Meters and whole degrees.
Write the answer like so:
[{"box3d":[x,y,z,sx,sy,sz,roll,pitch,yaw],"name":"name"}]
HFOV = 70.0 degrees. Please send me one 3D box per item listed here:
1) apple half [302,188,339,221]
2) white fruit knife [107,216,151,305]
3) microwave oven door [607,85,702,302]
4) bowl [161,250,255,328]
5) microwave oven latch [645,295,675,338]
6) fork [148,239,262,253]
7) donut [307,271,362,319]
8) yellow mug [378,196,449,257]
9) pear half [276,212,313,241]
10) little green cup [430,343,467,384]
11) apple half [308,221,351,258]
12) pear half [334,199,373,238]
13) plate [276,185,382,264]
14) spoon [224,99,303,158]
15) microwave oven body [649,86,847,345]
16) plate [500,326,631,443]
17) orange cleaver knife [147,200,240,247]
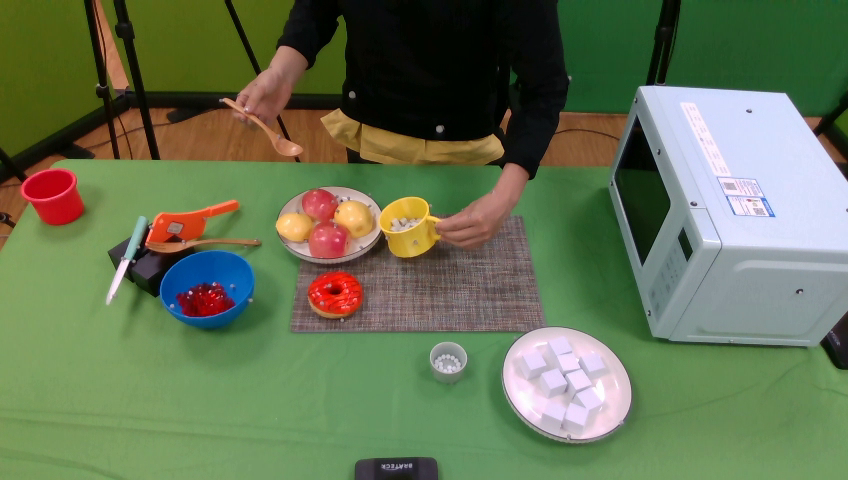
[{"box3d":[-0.205,-0.076,1.216,0.081,0.033,0.081,18,47,-19],"name":"apple half"},{"box3d":[-0.518,0.032,1.066,0.027,0.016,0.206,-19,45,19],"name":"white fruit knife"},{"box3d":[0.423,-0.094,1.140,0.039,0.245,0.353,2,46,-1],"name":"microwave oven door"},{"box3d":[-0.362,0.097,1.040,0.151,0.077,0.150,2,45,-2],"name":"bowl"},{"box3d":[0.411,0.134,1.061,0.030,0.029,0.078,3,45,0],"name":"microwave oven latch"},{"box3d":[-0.398,0.008,1.117,0.208,0.019,0.028,-5,35,-37],"name":"fork"},{"box3d":[-0.157,0.097,1.073,0.099,0.048,0.098,4,45,-4],"name":"donut"},{"box3d":[-0.015,-0.025,1.125,0.130,0.064,0.099,3,47,27],"name":"yellow mug"},{"box3d":[-0.245,-0.035,1.179,0.070,0.031,0.088,40,42,0],"name":"pear half"},{"box3d":[0.039,0.203,0.993,0.061,0.039,0.061,2,46,-2],"name":"little green cup"},{"box3d":[-0.180,-0.005,1.150,0.074,0.053,0.080,14,43,9],"name":"apple half"},{"box3d":[-0.147,-0.059,1.210,0.076,0.056,0.109,-16,44,-25],"name":"pear half"},{"box3d":[-0.184,-0.027,1.194,0.209,0.038,0.208,2,46,-2],"name":"plate"},{"box3d":[-0.295,-0.207,1.103,0.193,0.022,0.041,40,54,13],"name":"spoon"},{"box3d":[0.568,-0.053,1.118,0.326,0.261,0.439,2,45,-1],"name":"microwave oven body"},{"box3d":[0.224,0.234,0.978,0.208,0.039,0.206,2,46,-2],"name":"plate"},{"box3d":[-0.435,-0.033,1.157,0.012,0.077,0.211,31,26,18],"name":"orange cleaver knife"}]
